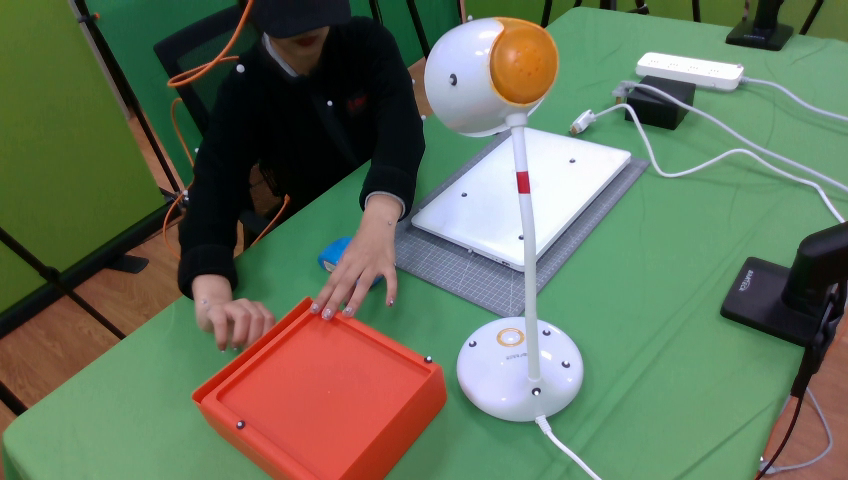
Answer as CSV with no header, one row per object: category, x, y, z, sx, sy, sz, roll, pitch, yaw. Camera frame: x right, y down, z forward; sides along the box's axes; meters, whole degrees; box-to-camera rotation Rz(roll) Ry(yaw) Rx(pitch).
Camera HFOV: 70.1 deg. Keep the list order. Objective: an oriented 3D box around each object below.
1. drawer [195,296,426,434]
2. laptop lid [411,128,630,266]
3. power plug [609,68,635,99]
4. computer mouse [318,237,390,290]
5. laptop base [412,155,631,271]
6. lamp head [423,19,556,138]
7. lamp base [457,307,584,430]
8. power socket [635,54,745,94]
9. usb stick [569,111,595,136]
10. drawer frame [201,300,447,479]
drawer,-0.134,0.187,0.744,0.210,0.073,0.195,22,49,32
laptop lid,0.172,-0.093,1.049,0.239,0.013,0.358,23,49,36
power plug,0.406,-0.322,1.233,0.035,0.072,0.052,6,36,-34
computer mouse,-0.113,0.033,0.959,0.116,0.041,0.063,28,50,31
laptop base,0.176,-0.084,1.055,0.233,0.023,0.355,21,48,36
lamp head,0.069,-0.151,0.563,0.113,0.113,0.122,-21,18,-13
lamp base,0.115,0.108,0.713,0.161,0.181,0.178,-16,42,-8
power socket,0.563,-0.358,1.295,0.225,0.033,0.072,21,49,31
usb stick,0.309,-0.227,1.189,0.059,0.021,0.027,-44,13,-19
drawer frame,-0.117,0.193,0.733,0.212,0.083,0.202,23,48,32
